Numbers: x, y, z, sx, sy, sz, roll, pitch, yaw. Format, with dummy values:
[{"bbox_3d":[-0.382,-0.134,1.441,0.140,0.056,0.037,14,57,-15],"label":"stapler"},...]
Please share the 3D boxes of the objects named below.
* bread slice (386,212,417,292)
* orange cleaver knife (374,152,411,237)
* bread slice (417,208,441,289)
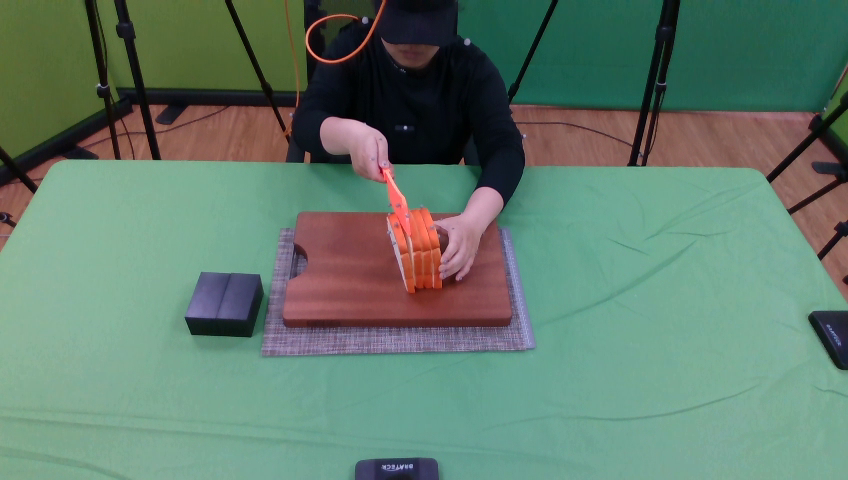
[{"bbox_3d":[-0.041,0.016,1.067,0.019,0.132,0.104,-18,46,-6],"label":"bread slice"},{"bbox_3d":[-0.056,-0.083,1.051,0.012,0.077,0.210,-14,38,-11],"label":"orange cleaver knife"},{"bbox_3d":[0.008,0.010,1.076,0.018,0.135,0.106,-13,51,-10],"label":"bread slice"}]
